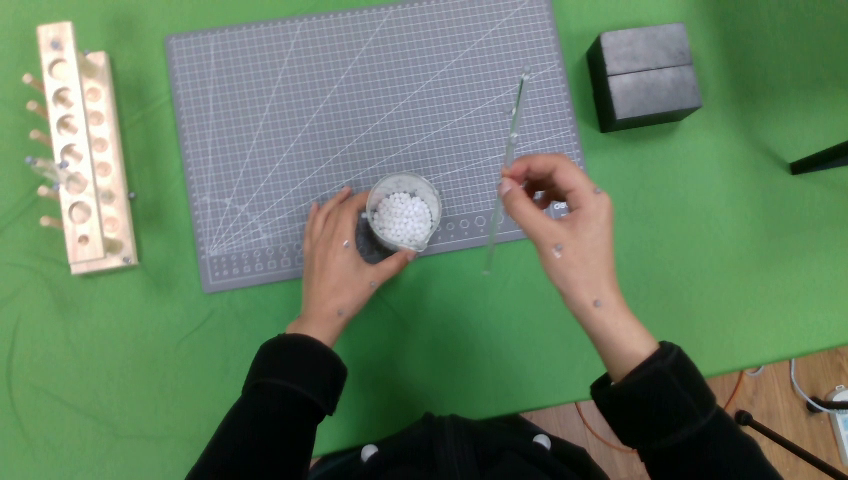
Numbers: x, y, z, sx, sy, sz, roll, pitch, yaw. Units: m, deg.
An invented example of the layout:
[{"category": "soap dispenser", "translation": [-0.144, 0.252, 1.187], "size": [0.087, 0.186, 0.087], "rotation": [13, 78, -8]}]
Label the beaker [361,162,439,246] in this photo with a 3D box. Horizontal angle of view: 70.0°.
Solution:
[{"category": "beaker", "translation": [-0.024, -0.031, 0.636], "size": [0.074, 0.100, 0.084], "rotation": [-23, 86, -6]}]

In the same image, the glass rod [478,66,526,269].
[{"category": "glass rod", "translation": [0.058, -0.045, 0.475], "size": [0.008, 0.201, 0.008], "rotation": [3, 46, -3]}]

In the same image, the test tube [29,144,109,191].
[{"category": "test tube", "translation": [-0.332, -0.066, 0.576], "size": [0.017, 0.150, 0.017], "rotation": [1, 85, -9]}]

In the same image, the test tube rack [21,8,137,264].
[{"category": "test tube rack", "translation": [-0.363, -0.102, 0.627], "size": [0.067, 0.085, 0.241], "rotation": [-10, 86, -4]}]
